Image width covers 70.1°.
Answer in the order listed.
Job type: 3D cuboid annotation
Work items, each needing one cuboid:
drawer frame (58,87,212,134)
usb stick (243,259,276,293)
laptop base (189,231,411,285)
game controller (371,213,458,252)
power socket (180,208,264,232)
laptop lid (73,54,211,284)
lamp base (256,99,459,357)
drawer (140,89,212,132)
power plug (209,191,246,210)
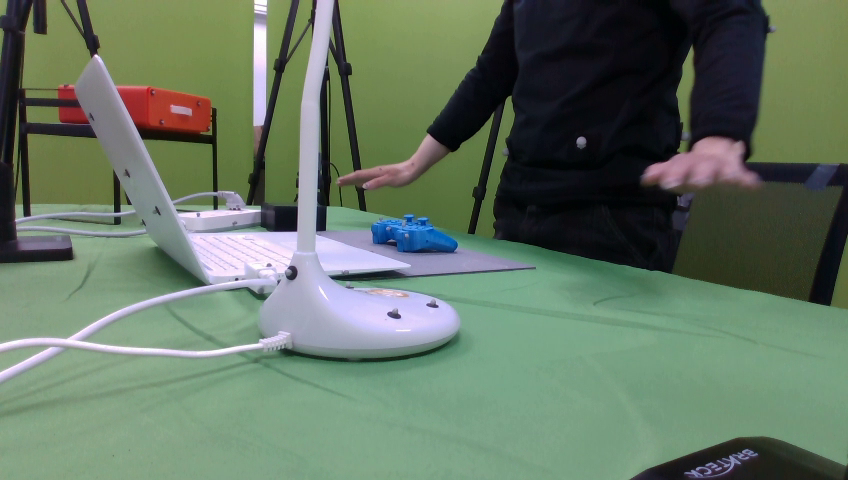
[{"bbox_3d":[-0.593,-0.268,1.260,0.213,0.082,0.202,4,8,14],"label":"drawer frame"},{"bbox_3d":[-0.166,0.035,0.604,0.021,0.027,0.059,-8,8,-28],"label":"usb stick"},{"bbox_3d":[-0.204,0.019,0.807,0.237,0.023,0.352,0,7,-33],"label":"laptop base"},{"bbox_3d":[-0.021,-0.014,0.979,0.097,0.051,0.154,-7,11,-28],"label":"game controller"},{"bbox_3d":[-0.381,-0.038,1.128,0.072,0.032,0.227,4,8,16],"label":"power socket"},{"bbox_3d":[-0.341,-0.079,0.704,0.013,0.242,0.355,-30,23,-26],"label":"laptop lid"},{"bbox_3d":[-0.055,-0.013,0.463,0.160,0.180,0.180,6,11,27],"label":"lamp base"},{"bbox_3d":[-0.588,-0.267,1.260,0.211,0.073,0.195,3,8,15],"label":"drawer"},{"bbox_3d":[-0.387,-0.071,1.204,0.072,0.052,0.035,4,8,26],"label":"power plug"}]
